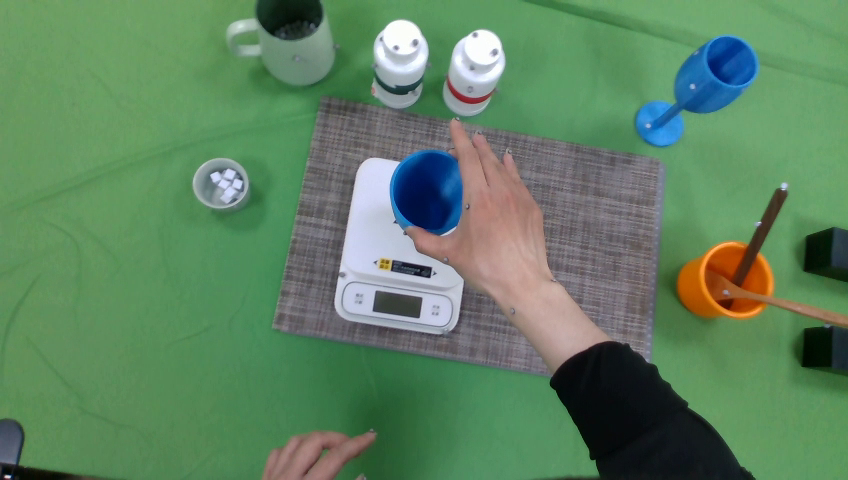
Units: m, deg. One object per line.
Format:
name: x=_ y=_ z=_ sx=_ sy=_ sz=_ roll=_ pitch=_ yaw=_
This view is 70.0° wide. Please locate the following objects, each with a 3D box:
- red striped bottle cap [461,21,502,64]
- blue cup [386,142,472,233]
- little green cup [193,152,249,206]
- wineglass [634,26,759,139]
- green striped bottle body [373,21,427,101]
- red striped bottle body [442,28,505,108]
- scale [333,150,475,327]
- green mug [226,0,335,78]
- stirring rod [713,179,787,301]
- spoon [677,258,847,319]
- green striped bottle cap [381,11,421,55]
red striped bottle cap: x=0.065 y=-0.223 z=0.683 sx=0.044 sy=0.018 sz=0.044 roll=1 pitch=80 yaw=-6
blue cup: x=0.000 y=-0.046 z=0.639 sx=0.093 sy=0.100 sz=0.092 roll=1 pitch=81 yaw=-7
little green cup: x=-0.237 y=-0.069 z=0.717 sx=0.062 sy=0.039 sz=0.061 roll=1 pitch=79 yaw=-7
wineglass: x=0.320 y=-0.183 z=0.729 sx=0.074 sy=0.172 sz=0.073 roll=1 pitch=79 yaw=-5
green striped bottle body: x=-0.030 y=-0.220 z=0.727 sx=0.063 sy=0.119 sz=0.063 roll=1 pitch=78 yaw=-5
red striped bottle body: x=0.060 y=-0.212 z=0.735 sx=0.063 sy=0.120 sz=0.063 roll=1 pitch=78 yaw=-6
scale: x=-0.022 y=-0.003 z=0.728 sx=0.149 sy=0.031 sz=0.200 roll=9 pitch=79 yaw=-4
green mug: x=-0.172 y=-0.251 z=0.726 sx=0.125 sy=0.105 sz=0.092 roll=-12 pitch=81 yaw=-8
stirring rod: x=0.381 y=0.005 z=0.713 sx=0.014 sy=0.177 sz=0.006 roll=16 pitch=37 yaw=10
spoon: x=0.391 y=0.060 z=0.704 sx=0.022 sy=0.192 sz=0.041 roll=29 pitch=82 yaw=-44
green striped bottle cap: x=-0.026 y=-0.231 z=0.676 sx=0.044 sy=0.020 sz=0.044 roll=1 pitch=79 yaw=-6
